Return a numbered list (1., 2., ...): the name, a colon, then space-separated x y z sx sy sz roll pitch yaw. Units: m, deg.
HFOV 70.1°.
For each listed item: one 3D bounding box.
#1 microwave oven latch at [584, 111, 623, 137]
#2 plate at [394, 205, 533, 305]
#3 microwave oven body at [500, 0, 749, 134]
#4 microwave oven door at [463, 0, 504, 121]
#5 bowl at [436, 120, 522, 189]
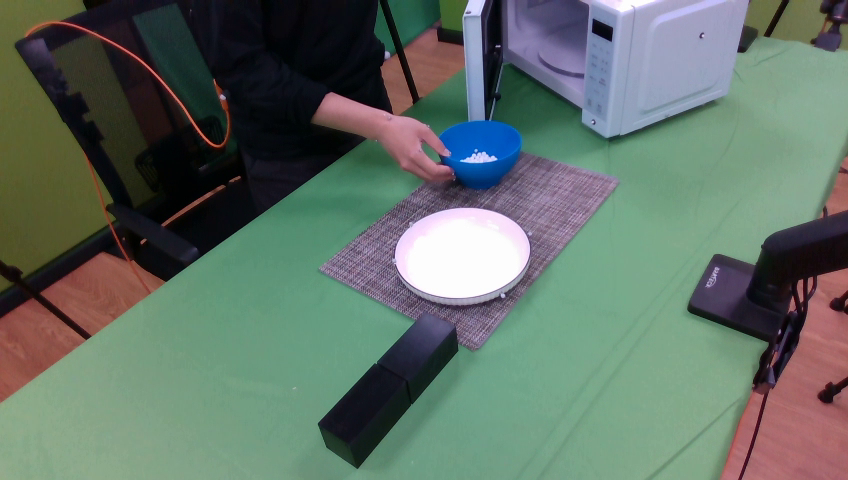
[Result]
1. microwave oven latch: 0.337 -0.222 1.142 0.030 0.029 0.078 -21 42 -14
2. plate: 0.059 0.025 0.915 0.207 0.039 0.206 -4 41 4
3. microwave oven body: 0.382 -0.444 1.246 0.327 0.261 0.437 -22 42 -16
4. microwave oven door: 0.125 -0.403 1.226 0.039 0.245 0.355 3 42 12
5. bowl: 0.099 -0.143 1.073 0.151 0.077 0.150 -3 39 3
